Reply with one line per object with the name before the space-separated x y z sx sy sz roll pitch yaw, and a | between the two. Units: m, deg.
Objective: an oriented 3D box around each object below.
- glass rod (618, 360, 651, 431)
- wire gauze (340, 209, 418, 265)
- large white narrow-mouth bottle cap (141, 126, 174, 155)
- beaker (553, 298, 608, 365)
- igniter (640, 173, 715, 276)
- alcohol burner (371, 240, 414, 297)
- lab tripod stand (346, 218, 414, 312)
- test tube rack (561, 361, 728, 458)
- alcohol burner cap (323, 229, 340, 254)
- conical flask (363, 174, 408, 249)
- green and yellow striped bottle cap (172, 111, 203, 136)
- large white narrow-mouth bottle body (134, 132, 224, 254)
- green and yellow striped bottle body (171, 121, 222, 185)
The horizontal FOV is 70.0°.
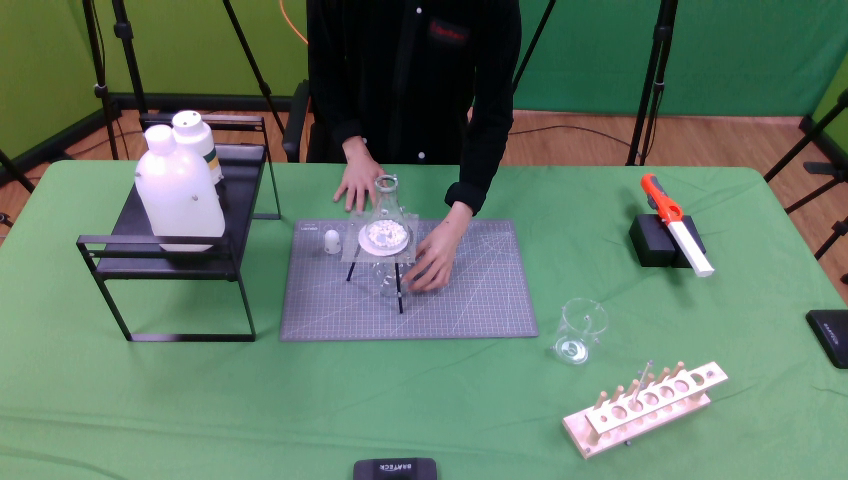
glass rod | 0.298 0.227 0.865 0.008 0.201 0.008 -1 47 2
wire gauze | -0.074 -0.006 1.024 0.121 0.011 0.124 2 48 1
large white narrow-mouth bottle cap | -0.356 -0.133 0.811 0.038 0.024 0.037 2 48 -2
beaker | 0.260 0.154 1.015 0.073 0.101 0.084 37 54 27
igniter | 0.495 -0.039 1.204 0.057 0.025 0.274 -2 47 -12
alcohol burner | -0.057 0.046 1.082 0.078 0.120 0.077 1 46 -1
lab tripod stand | -0.070 0.037 1.075 0.148 0.132 0.147 1 48 -1
test tube rack | 0.341 0.248 0.940 0.243 0.085 0.066 -15 49 -18
alcohol burner cap | -0.179 0.001 1.165 0.034 0.048 0.033 2 45 -2
conical flask | -0.063 -0.049 0.985 0.075 0.122 0.075 2 46 -1
green and yellow striped bottle cap | -0.374 -0.185 0.958 0.045 0.020 0.045 4 46 -4
large white narrow-mouth bottle body | -0.358 -0.075 0.875 0.102 0.195 0.101 1 48 -1
green and yellow striped bottle body | -0.375 -0.149 0.995 0.063 0.120 0.063 2 46 -2
